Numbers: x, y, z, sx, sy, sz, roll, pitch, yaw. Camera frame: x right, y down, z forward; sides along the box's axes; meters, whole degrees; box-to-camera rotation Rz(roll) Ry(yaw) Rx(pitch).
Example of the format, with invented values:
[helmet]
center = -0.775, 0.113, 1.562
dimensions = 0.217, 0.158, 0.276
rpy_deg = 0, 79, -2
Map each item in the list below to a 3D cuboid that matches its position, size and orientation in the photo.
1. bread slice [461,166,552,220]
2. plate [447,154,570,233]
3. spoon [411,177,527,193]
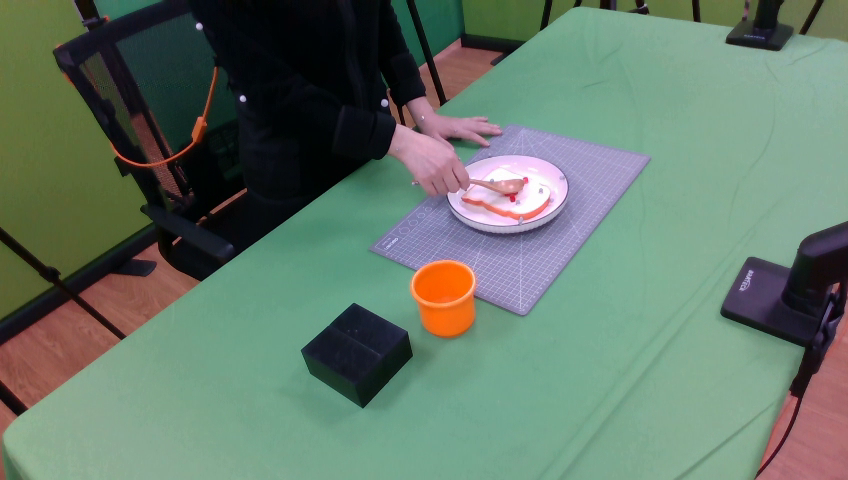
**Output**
[bread slice]
center = 0.149, -0.079, 1.036
dimensions = 0.133, 0.018, 0.107
rpy_deg = 22, 50, 32
[plate]
center = 0.143, -0.076, 1.032
dimensions = 0.209, 0.038, 0.208
rpy_deg = -5, 40, 5
[spoon]
center = 0.075, -0.095, 0.998
dimensions = 0.194, 0.021, 0.041
rpy_deg = 4, 32, -11
